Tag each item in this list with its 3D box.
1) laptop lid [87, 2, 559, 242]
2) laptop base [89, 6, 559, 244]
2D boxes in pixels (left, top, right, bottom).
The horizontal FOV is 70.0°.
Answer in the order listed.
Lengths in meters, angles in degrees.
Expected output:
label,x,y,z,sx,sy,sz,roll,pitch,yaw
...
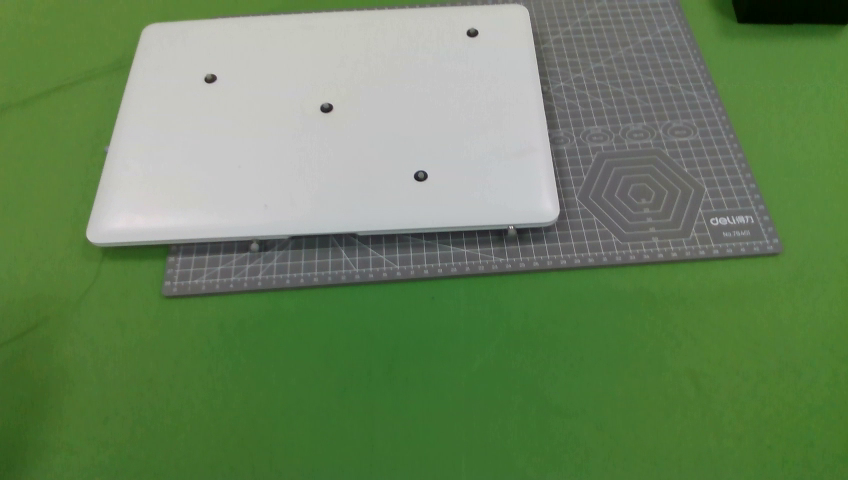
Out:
label,x,y,z,sx,sy,sz,roll,pitch,yaw
laptop lid,-0.079,-0.107,0.497,0.357,0.013,0.239,-1,61,2
laptop base,-0.078,-0.103,0.508,0.354,0.023,0.233,-3,62,1
